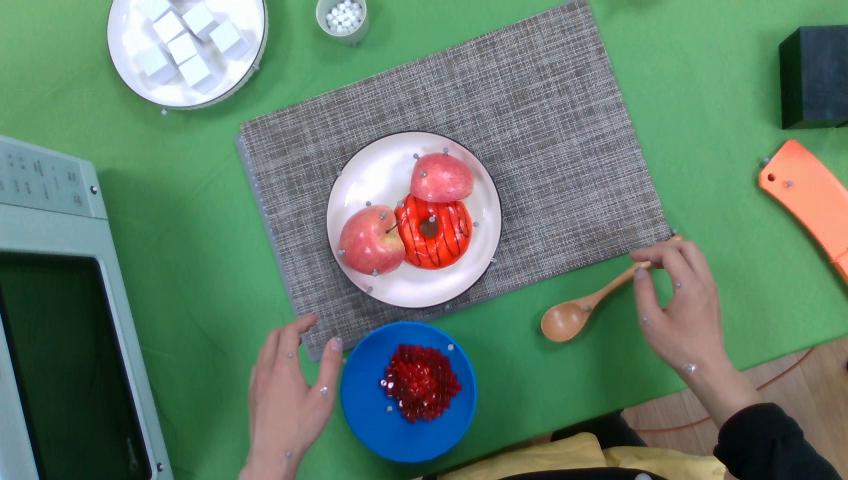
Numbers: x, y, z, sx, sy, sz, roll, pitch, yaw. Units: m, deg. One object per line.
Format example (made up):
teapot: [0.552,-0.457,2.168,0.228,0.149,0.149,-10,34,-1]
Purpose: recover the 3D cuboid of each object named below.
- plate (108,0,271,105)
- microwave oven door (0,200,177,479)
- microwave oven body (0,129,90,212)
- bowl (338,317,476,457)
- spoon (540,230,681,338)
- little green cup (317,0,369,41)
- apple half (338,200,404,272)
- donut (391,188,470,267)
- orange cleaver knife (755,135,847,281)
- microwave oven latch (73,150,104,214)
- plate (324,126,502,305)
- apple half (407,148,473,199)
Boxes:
plate: [-0.288,-0.268,0.758,0.207,0.039,0.207,0,88,7]
microwave oven door: [-0.375,0.135,0.630,0.039,0.244,0.355,-17,85,6]
microwave oven body: [-0.525,0.137,0.653,0.326,0.260,0.440,-17,86,5]
bowl: [-0.014,0.160,0.688,0.151,0.077,0.151,0,87,7]
spoon: [0.216,0.048,0.693,0.194,0.022,0.041,-36,69,4]
little green cup: [-0.096,-0.274,0.736,0.061,0.039,0.061,0,87,7]
apple half: [-0.068,-0.002,0.686,0.074,0.053,0.080,-20,82,47]
donut: [0.005,-0.017,0.698,0.099,0.048,0.099,0,89,6]
orange cleaver knife: [0.452,-0.021,0.670,0.077,0.012,0.210,-34,83,-1]
microwave oven latch: [-0.422,-0.069,0.746,0.030,0.029,0.079,-16,86,5]
plate: [-0.013,-0.028,0.712,0.209,0.038,0.209,0,88,7]
apple half: [0.020,-0.082,0.684,0.081,0.033,0.080,0,47,0]
